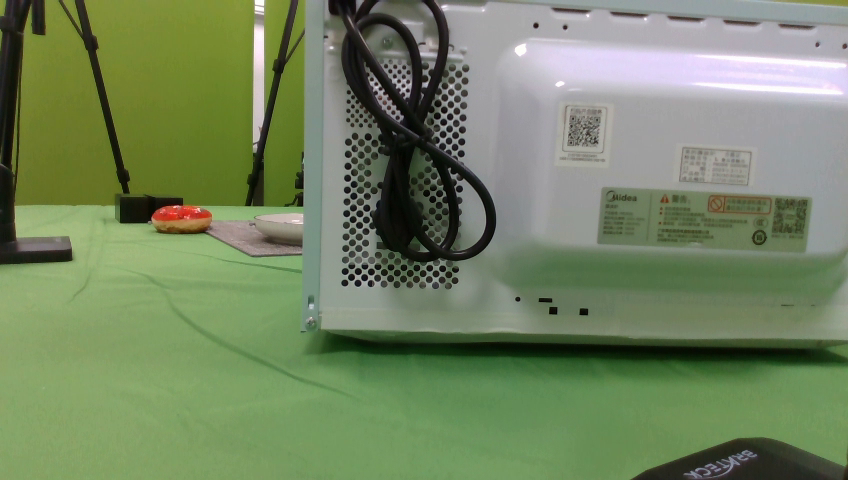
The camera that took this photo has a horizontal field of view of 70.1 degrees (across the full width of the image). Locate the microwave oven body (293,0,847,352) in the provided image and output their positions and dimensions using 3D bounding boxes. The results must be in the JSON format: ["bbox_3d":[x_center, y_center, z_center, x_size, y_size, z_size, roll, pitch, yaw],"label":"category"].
[{"bbox_3d":[0.122,-0.055,0.550,0.442,0.260,0.325,3,7,-5],"label":"microwave oven body"}]

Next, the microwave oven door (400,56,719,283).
[{"bbox_3d":[0.155,-0.078,0.697,0.356,0.243,0.039,2,8,-5],"label":"microwave oven door"}]

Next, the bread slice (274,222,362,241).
[{"bbox_3d":[-0.181,-0.016,1.011,0.104,0.019,0.132,5,8,27],"label":"bread slice"}]

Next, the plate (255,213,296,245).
[{"bbox_3d":[-0.177,-0.018,1.017,0.208,0.039,0.207,2,7,0],"label":"plate"}]

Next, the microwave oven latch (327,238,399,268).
[{"bbox_3d":[-0.069,0.015,0.694,0.079,0.029,0.030,3,7,-3],"label":"microwave oven latch"}]

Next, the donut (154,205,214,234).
[{"bbox_3d":[-0.426,-0.037,1.075,0.099,0.048,0.099,2,12,0],"label":"donut"}]
